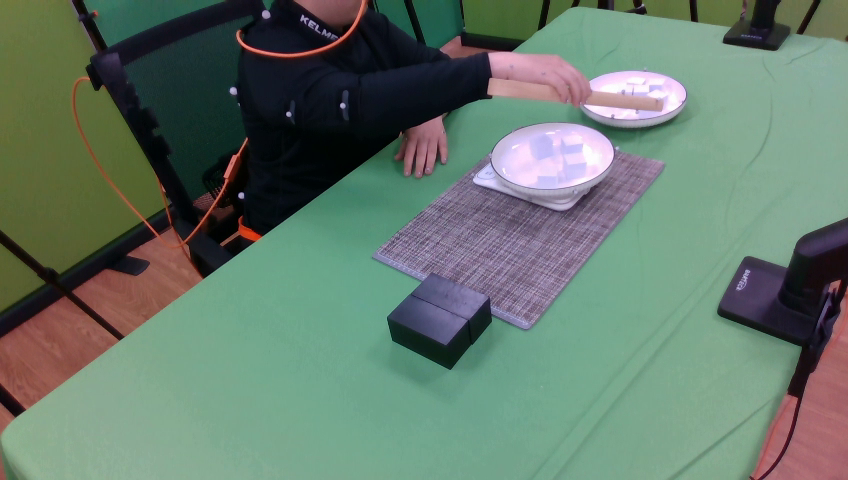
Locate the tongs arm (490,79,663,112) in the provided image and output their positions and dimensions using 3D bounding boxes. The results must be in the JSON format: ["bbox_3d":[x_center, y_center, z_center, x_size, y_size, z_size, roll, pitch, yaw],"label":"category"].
[{"bbox_3d":[0.277,-0.247,1.046,0.388,0.026,0.050,-5,20,-35],"label":"tongs arm"}]

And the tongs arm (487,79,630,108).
[{"bbox_3d":[0.252,-0.259,1.081,0.391,0.028,0.028,-5,23,-37],"label":"tongs arm"}]

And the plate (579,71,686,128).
[{"bbox_3d":[0.416,-0.280,1.221,0.209,0.038,0.208,-5,41,5],"label":"plate"}]

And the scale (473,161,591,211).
[{"bbox_3d":[0.202,-0.121,1.074,0.199,0.032,0.149,23,49,33],"label":"scale"}]

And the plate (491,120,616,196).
[{"bbox_3d":[0.221,-0.137,1.038,0.207,0.039,0.206,-6,41,5],"label":"plate"}]
